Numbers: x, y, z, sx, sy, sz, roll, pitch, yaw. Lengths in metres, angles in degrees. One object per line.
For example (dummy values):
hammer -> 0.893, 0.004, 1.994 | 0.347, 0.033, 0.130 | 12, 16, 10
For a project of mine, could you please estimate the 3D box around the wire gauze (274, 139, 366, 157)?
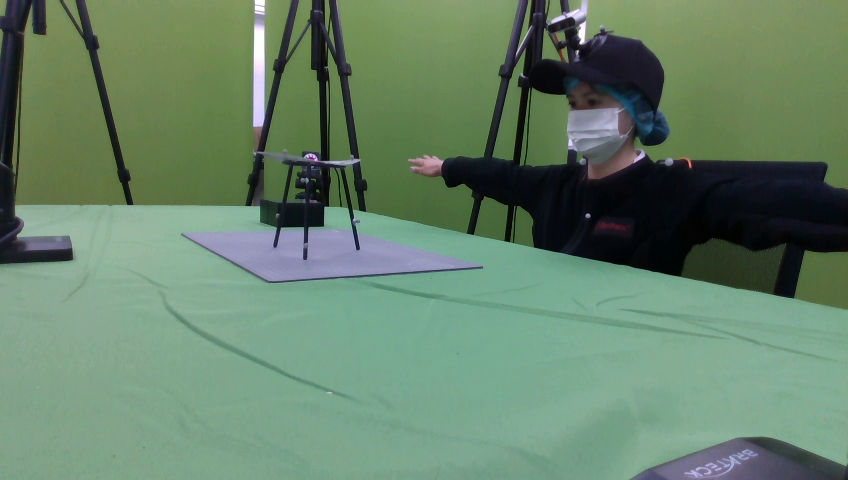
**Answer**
wire gauze -> -0.153, -0.130, 0.869 | 0.122, 0.011, 0.124 | -3, 1, -15

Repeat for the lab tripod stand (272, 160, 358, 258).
lab tripod stand -> -0.159, -0.048, 0.876 | 0.148, 0.131, 0.148 | 3, 5, 0
